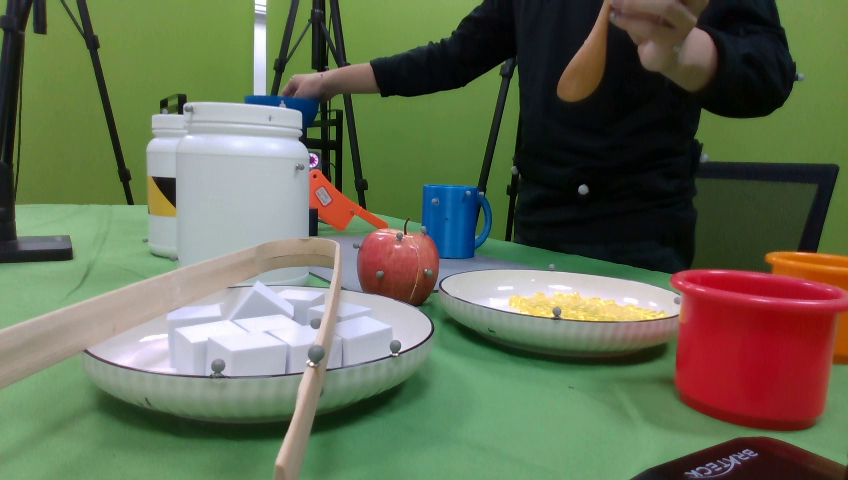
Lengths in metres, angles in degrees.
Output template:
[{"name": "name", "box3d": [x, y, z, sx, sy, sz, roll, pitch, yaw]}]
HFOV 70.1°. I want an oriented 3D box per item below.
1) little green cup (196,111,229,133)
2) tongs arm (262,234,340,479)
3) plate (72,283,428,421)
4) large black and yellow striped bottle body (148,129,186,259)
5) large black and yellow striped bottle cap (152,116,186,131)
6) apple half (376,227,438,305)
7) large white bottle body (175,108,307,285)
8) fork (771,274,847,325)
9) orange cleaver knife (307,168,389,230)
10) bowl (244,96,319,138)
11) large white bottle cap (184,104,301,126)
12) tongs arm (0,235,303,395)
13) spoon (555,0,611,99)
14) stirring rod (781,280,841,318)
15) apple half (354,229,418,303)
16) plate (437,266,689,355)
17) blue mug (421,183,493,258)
[{"name": "little green cup", "box3d": [-0.403, -0.225, 1.154, 0.061, 0.038, 0.061, 3, 8, 0]}, {"name": "tongs arm", "box3d": [-0.074, 0.039, 0.349, 0.051, 0.026, 0.384, -2, 10, -3]}, {"name": "plate", "box3d": [-0.102, 0.066, 0.381, 0.208, 0.039, 0.207, 2, 7, 0]}, {"name": "large black and yellow striped bottle body", "box3d": [-0.310, -0.073, 0.838, 0.131, 0.184, 0.130, 2, 8, 0]}, {"name": "large black and yellow striped bottle cap", "box3d": [-0.309, -0.155, 0.826, 0.115, 0.019, 0.115, 3, 6, 0]}, {"name": "apple half", "box3d": [-0.017, 0.026, 0.593, 0.080, 0.074, 0.053, 4, 2, 43]}, {"name": "large white bottle body", "box3d": [-0.188, -0.042, 0.630, 0.131, 0.184, 0.130, 2, 8, 0]}, {"name": "fork", "box3d": [0.332, 0.018, 0.442, 0.028, 0.018, 0.207, 0, -36, -15]}, {"name": "orange cleaver knife", "box3d": [-0.158, -0.060, 1.166, 0.212, 0.077, 0.012, 34, -12, -32]}, {"name": "bowl", "box3d": [-0.294, -0.252, 1.255, 0.151, 0.077, 0.151, 2, 8, 0]}, {"name": "large white bottle cap", "box3d": [-0.184, -0.126, 0.618, 0.115, 0.018, 0.115, 2, 8, 0]}, {"name": "tongs arm", "box3d": [-0.157, 0.038, 0.351, 0.028, 0.028, 0.388, -3, 9, 12]}, {"name": "spoon", "box3d": [0.166, -0.217, 0.543, 0.042, 0.193, 0.021, 8, 27, -20]}, {"name": "stirring rod", "box3d": [0.344, 0.019, 0.461, 0.014, 0.006, 0.176, -13, -27, -30]}, {"name": "apple half", "box3d": [-0.044, 0.027, 0.564, 0.081, 0.081, 0.033, 9, 5, 42]}, {"name": "plate", "box3d": [0.114, 0.057, 0.518, 0.209, 0.038, 0.209, 3, 7, 0]}, {"name": "blue mug", "box3d": [0.052, -0.032, 0.912, 0.117, 0.106, 0.082, -1, 8, -24]}]
